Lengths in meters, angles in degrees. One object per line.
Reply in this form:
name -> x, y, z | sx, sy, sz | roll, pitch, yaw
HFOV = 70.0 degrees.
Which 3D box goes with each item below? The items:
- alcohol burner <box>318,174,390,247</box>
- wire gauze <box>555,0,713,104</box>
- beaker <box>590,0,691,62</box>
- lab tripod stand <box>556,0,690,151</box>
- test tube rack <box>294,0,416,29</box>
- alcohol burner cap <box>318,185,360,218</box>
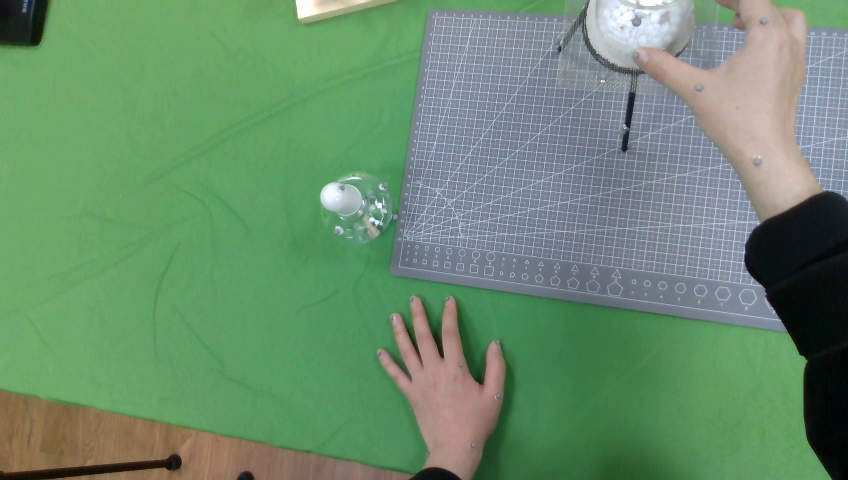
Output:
alcohol burner -> -0.076, -0.034, 0.620 | 0.078, 0.119, 0.077 | -1, 82, 11
wire gauze -> 0.176, -0.178, 0.501 | 0.125, 0.011, 0.121 | 7, 89, 10
beaker -> 0.161, -0.185, 0.456 | 0.083, 0.101, 0.074 | 21, 89, 14
lab tripod stand -> 0.189, -0.170, 0.565 | 0.148, 0.132, 0.148 | -1, 85, 10
test tube rack -> -0.041, -0.305, 0.655 | 0.242, 0.085, 0.066 | -10, 82, 10
alcohol burner cap -> -0.085, -0.039, 0.585 | 0.034, 0.048, 0.034 | -1, 87, 12
